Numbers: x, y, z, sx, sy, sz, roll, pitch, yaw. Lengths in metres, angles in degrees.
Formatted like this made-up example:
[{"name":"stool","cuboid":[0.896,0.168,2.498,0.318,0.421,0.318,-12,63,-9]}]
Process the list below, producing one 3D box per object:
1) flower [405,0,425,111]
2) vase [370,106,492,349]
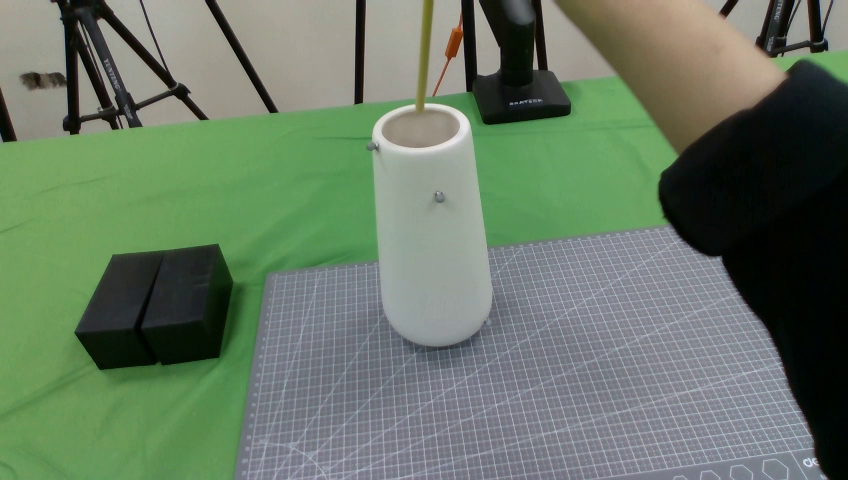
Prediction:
[{"name":"flower","cuboid":[0.007,-0.195,0.274,0.044,0.364,0.038,-29,63,-24]},{"name":"vase","cuboid":[0.004,-0.003,0.489,0.098,0.202,0.097,-4,40,4]}]
